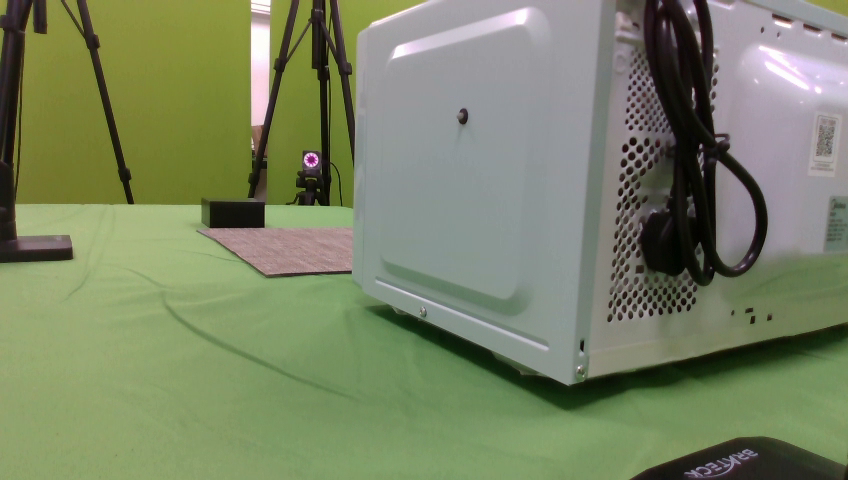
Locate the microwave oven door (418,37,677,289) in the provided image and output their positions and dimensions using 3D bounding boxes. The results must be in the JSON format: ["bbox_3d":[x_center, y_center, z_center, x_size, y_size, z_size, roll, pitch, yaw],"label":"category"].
[{"bbox_3d":[0.158,-0.079,0.684,0.358,0.243,0.039,-2,9,-32],"label":"microwave oven door"}]

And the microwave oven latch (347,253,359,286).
[{"bbox_3d":[-0.034,0.028,0.581,0.079,0.029,0.030,-1,7,-32],"label":"microwave oven latch"}]

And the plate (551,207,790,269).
[{"bbox_3d":[0.224,-0.004,0.572,0.209,0.038,0.209,4,7,0],"label":"plate"}]

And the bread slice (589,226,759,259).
[{"bbox_3d":[0.226,0.001,0.568,0.132,0.019,0.104,3,5,-23],"label":"bread slice"}]

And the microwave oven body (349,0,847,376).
[{"bbox_3d":[0.199,-0.053,0.540,0.444,0.260,0.324,-1,7,-32],"label":"microwave oven body"}]
